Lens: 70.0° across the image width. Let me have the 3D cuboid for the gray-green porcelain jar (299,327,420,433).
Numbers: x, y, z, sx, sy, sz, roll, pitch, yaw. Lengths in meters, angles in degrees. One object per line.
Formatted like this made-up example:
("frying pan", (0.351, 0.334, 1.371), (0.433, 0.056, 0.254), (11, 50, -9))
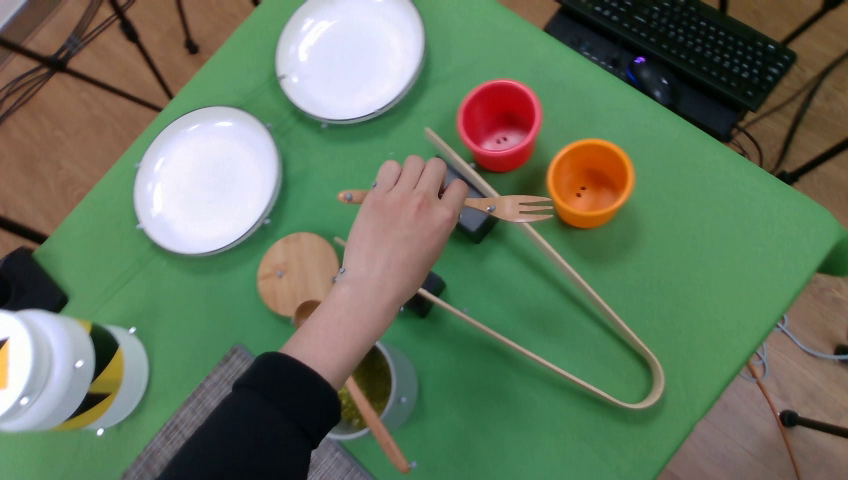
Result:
("gray-green porcelain jar", (-0.063, 0.154, 0.663), (0.105, 0.127, 0.105), (-3, 75, 11))

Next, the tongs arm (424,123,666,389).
("tongs arm", (0.131, 0.011, 0.674), (0.028, 0.028, 0.386), (-42, 83, -11))

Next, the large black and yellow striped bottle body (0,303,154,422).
("large black and yellow striped bottle body", (-0.427, 0.145, 0.708), (0.130, 0.185, 0.130), (-3, 74, 11))

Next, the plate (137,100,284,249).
("plate", (-0.283, -0.086, 0.816), (0.207, 0.039, 0.206), (-3, 76, 11))

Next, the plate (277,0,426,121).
("plate", (-0.096, -0.255, 0.821), (0.209, 0.038, 0.208), (-3, 75, 11))

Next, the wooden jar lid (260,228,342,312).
("wooden jar lid", (-0.154, 0.039, 0.767), (0.108, 0.021, 0.108), (-2, 76, 10))

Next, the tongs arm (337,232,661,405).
("tongs arm", (0.078, 0.077, 0.665), (0.384, 0.026, 0.050), (32, 81, 5))

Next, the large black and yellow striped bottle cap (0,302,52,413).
("large black and yellow striped bottle cap", (-0.444, 0.122, 0.629), (0.115, 0.019, 0.114), (-2, 77, 10))

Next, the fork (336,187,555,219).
("fork", (0.023, -0.037, 0.561), (0.208, 0.018, 0.028), (3, 74, -15))

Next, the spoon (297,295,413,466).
("spoon", (-0.067, 0.137, 0.594), (0.041, 0.022, 0.192), (-33, 76, -2))
